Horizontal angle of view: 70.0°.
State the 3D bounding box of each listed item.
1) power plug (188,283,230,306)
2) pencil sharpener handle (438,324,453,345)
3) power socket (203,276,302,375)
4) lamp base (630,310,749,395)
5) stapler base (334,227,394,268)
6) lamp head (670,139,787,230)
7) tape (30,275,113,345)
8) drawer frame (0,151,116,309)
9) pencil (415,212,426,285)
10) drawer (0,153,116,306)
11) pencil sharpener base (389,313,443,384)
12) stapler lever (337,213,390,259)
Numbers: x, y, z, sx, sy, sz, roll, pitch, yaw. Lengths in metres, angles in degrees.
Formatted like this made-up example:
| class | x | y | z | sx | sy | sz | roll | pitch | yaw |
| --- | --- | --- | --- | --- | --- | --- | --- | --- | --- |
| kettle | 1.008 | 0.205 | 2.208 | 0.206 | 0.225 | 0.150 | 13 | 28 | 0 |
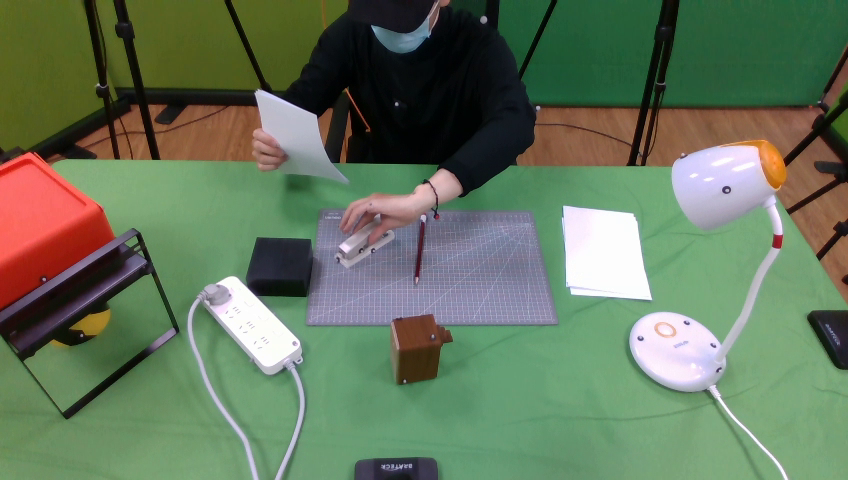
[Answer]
| class | x | y | z | sx | sy | sz | roll | pitch | yaw |
| --- | --- | --- | --- | --- | --- | --- | --- | --- | --- |
| power plug | -0.368 | 0.099 | 1.037 | 0.072 | 0.053 | 0.035 | -24 | 52 | -26 |
| pencil sharpener handle | 0.036 | 0.155 | 0.976 | 0.031 | 0.068 | 0.036 | -8 | 70 | -11 |
| power socket | -0.297 | 0.141 | 1.034 | 0.072 | 0.033 | 0.225 | -34 | 58 | -30 |
| lamp base | 0.447 | 0.142 | 0.984 | 0.161 | 0.181 | 0.178 | -24 | 55 | -24 |
| stapler base | -0.115 | 0.005 | 1.180 | 0.041 | 0.024 | 0.130 | 36 | 56 | 28 |
| lamp head | 0.415 | -0.079 | 0.812 | 0.113 | 0.123 | 0.112 | 12 | 70 | -37 |
| tape | -0.593 | 0.117 | 1.021 | 0.117 | 0.053 | 0.116 | 2 | 46 | -2 |
| drawer frame | -0.604 | -0.013 | 0.876 | 0.201 | 0.083 | 0.213 | 31 | 52 | 23 |
| pencil | -0.008 | 0.014 | 1.190 | 0.012 | 0.012 | 0.193 | 5 | 47 | 1 |
| drawer | -0.601 | -0.015 | 0.880 | 0.193 | 0.073 | 0.211 | 32 | 53 | 23 |
| pencil sharpener base | -0.013 | 0.175 | 0.971 | 0.077 | 0.107 | 0.061 | -8 | 47 | -11 |
| stapler lever | -0.114 | -0.011 | 1.160 | 0.026 | 0.040 | 0.118 | 36 | 56 | 28 |
